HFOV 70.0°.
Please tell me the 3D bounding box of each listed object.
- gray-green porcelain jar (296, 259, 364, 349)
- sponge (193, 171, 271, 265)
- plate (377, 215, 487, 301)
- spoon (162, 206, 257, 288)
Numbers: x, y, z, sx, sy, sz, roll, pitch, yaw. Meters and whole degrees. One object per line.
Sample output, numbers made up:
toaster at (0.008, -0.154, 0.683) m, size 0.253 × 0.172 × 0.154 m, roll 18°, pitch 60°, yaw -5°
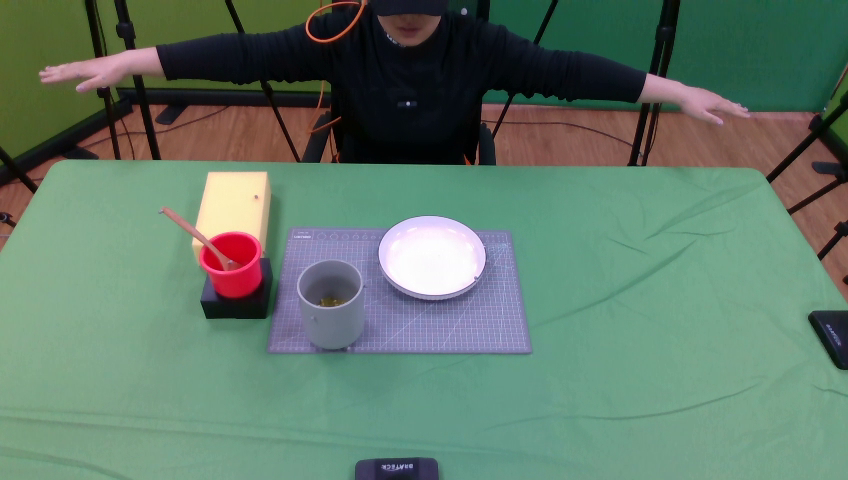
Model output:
gray-green porcelain jar at (-0.153, 0.111, 1.003) m, size 0.106 × 0.127 × 0.105 m, roll 2°, pitch 46°, yaw -2°
sponge at (-0.371, -0.047, 1.189) m, size 0.118 × 0.061 × 0.205 m, roll -3°, pitch 47°, yaw -6°
plate at (0.014, 0.037, 1.147) m, size 0.208 × 0.039 × 0.206 m, roll 2°, pitch 46°, yaw -2°
spoon at (-0.355, 0.011, 1.006) m, size 0.194 × 0.021 × 0.041 m, roll 48°, pitch 45°, yaw -19°
